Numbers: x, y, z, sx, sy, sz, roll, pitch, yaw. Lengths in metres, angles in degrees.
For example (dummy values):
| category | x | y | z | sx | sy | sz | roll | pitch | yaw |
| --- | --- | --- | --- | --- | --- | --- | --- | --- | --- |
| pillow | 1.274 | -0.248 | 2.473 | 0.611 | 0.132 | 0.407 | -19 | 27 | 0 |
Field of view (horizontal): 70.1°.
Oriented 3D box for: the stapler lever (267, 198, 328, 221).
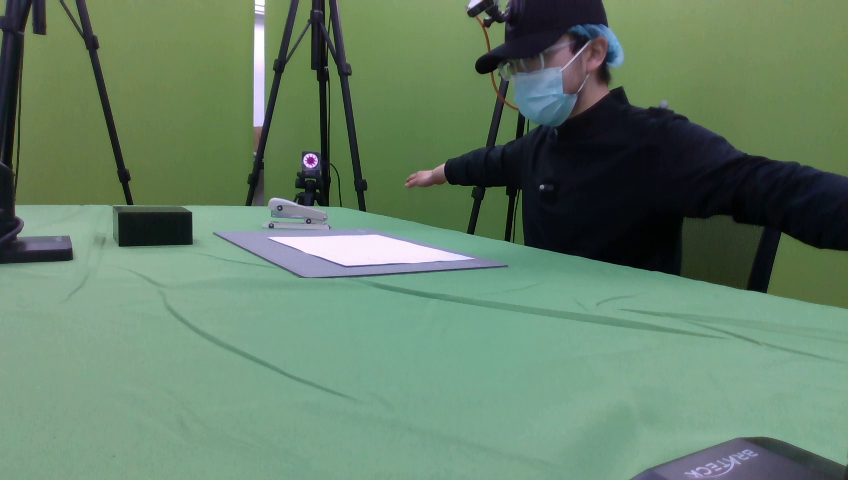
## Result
| category | x | y | z | sx | sy | sz | roll | pitch | yaw |
| --- | --- | --- | --- | --- | --- | --- | --- | --- | --- |
| stapler lever | -0.250 | -0.061 | 1.198 | 0.118 | 0.040 | 0.027 | 3 | 10 | -8 |

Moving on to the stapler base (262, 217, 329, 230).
| category | x | y | z | sx | sy | sz | roll | pitch | yaw |
| --- | --- | --- | --- | --- | --- | --- | --- | --- | --- |
| stapler base | -0.253 | -0.036 | 1.201 | 0.131 | 0.024 | 0.041 | 3 | 10 | -8 |
